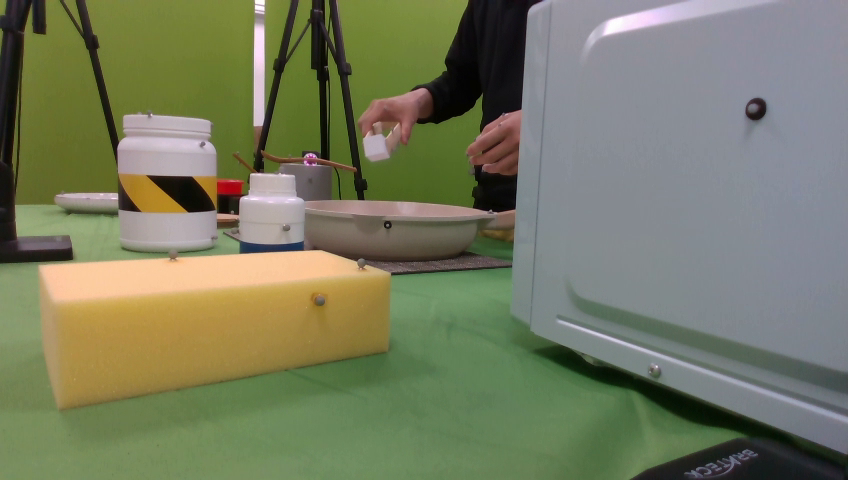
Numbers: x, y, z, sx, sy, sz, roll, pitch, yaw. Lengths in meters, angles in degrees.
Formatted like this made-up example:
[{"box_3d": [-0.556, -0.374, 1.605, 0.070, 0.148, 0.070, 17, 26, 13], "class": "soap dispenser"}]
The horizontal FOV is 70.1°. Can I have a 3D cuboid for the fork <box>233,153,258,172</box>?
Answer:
[{"box_3d": [-0.396, -0.143, 1.486, 0.028, 0.018, 0.208, 20, -26, 45], "class": "fork"}]

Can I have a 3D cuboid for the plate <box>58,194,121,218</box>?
[{"box_3d": [-0.671, -0.074, 1.310, 0.209, 0.038, 0.209, 2, 8, 0], "class": "plate"}]

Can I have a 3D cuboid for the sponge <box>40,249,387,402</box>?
[{"box_3d": [-0.142, 0.047, 0.420, 0.208, 0.061, 0.117, -3, 8, -36], "class": "sponge"}]

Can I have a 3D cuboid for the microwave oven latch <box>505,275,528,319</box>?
[{"box_3d": [0.100, 0.041, 0.471, 0.079, 0.029, 0.030, -1, 7, -28], "class": "microwave oven latch"}]

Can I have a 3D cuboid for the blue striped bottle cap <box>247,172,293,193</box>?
[{"box_3d": [-0.152, -0.057, 0.598, 0.044, 0.020, 0.044, 3, 6, 0], "class": "blue striped bottle cap"}]

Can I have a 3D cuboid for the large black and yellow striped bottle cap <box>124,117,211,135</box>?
[{"box_3d": [-0.366, -0.163, 0.866, 0.115, 0.019, 0.115, 3, 7, 0], "class": "large black and yellow striped bottle cap"}]

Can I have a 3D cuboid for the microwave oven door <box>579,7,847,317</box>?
[{"box_3d": [0.294, -0.067, 0.570, 0.358, 0.243, 0.039, -3, 9, -31], "class": "microwave oven door"}]

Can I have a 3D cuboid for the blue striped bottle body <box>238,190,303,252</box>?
[{"box_3d": [-0.153, -0.007, 0.606, 0.063, 0.120, 0.063, 2, 8, 0], "class": "blue striped bottle body"}]

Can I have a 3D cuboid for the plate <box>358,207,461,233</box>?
[{"box_3d": [-0.030, -0.041, 1.214, 0.208, 0.039, 0.207, 3, 7, 0], "class": "plate"}]

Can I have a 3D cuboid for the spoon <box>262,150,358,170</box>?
[{"box_3d": [-0.229, -0.162, 1.222, 0.194, 0.021, 0.041, 4, 4, -16], "class": "spoon"}]

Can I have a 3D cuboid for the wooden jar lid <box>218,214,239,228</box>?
[{"box_3d": [-0.404, -0.037, 1.169, 0.108, 0.020, 0.108, 3, 7, 0], "class": "wooden jar lid"}]

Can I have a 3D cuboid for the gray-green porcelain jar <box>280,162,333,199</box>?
[{"box_3d": [-0.238, -0.092, 1.221, 0.106, 0.126, 0.106, 2, 7, 0], "class": "gray-green porcelain jar"}]

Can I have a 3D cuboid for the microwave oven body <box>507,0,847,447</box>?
[{"box_3d": [0.331, -0.042, 0.425, 0.444, 0.260, 0.324, -2, 8, -31], "class": "microwave oven body"}]

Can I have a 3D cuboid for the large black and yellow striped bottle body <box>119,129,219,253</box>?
[{"box_3d": [-0.367, -0.080, 0.876, 0.131, 0.184, 0.130, 1, 7, 0], "class": "large black and yellow striped bottle body"}]

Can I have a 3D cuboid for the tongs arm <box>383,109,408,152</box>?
[{"box_3d": [-0.062, -0.207, 1.122, 0.051, 0.026, 0.384, -14, 17, 11], "class": "tongs arm"}]

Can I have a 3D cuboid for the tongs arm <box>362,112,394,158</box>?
[{"box_3d": [-0.085, -0.201, 1.124, 0.028, 0.028, 0.387, -19, 17, 8], "class": "tongs arm"}]

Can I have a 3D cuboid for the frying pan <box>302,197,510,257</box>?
[{"box_3d": [0.051, -0.035, 0.915, 0.487, 0.102, 0.307, -5, 7, 11], "class": "frying pan"}]
